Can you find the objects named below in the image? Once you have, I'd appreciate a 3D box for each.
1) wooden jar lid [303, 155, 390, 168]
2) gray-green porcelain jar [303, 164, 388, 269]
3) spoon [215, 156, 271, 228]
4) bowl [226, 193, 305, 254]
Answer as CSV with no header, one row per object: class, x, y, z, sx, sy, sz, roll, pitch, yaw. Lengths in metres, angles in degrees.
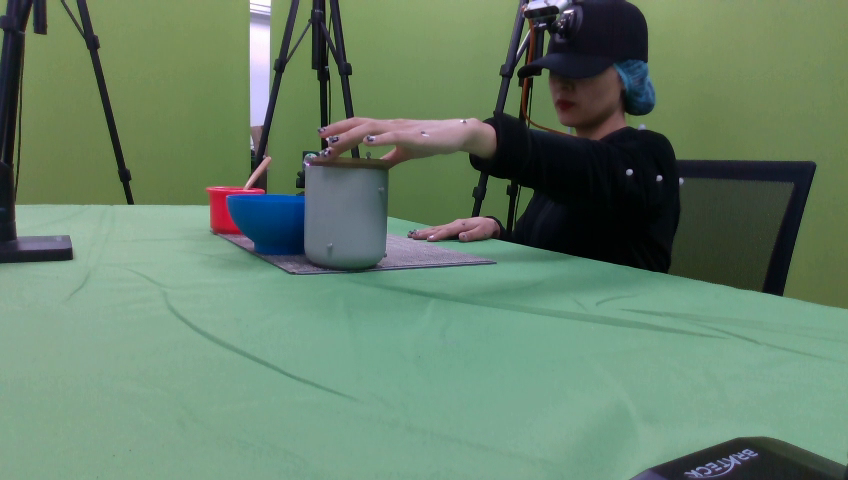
wooden jar lid,-0.097,-0.095,0.761,0.108,0.020,0.108,2,7,0
gray-green porcelain jar,-0.100,-0.031,0.770,0.106,0.126,0.106,2,7,0
spoon,-0.319,-0.090,1.091,0.041,0.022,0.193,7,52,16
bowl,-0.205,-0.024,0.866,0.151,0.077,0.151,3,7,0
